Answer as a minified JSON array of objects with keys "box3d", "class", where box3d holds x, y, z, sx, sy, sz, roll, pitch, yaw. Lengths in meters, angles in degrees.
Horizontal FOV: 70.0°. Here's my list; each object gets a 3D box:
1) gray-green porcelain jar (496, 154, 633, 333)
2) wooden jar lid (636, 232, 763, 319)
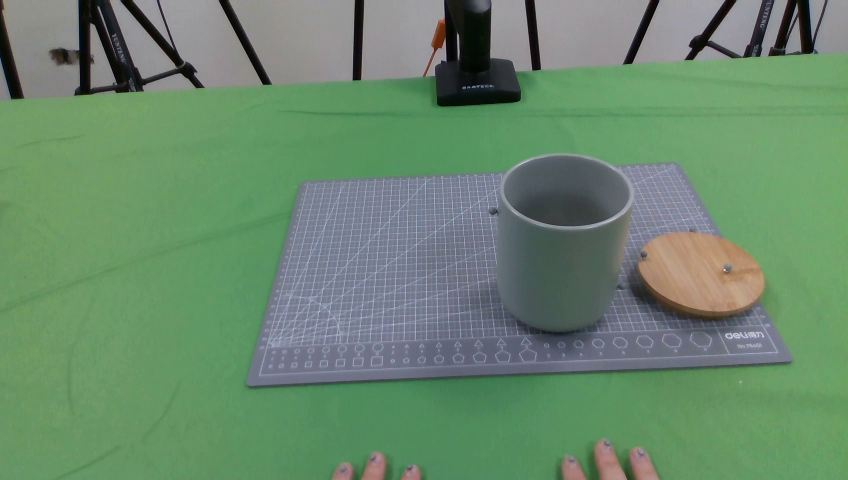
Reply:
[{"box3d":[0.114,0.008,0.517,0.106,0.127,0.105,-3,40,2],"class":"gray-green porcelain jar"},{"box3d":[0.251,0.033,0.559,0.108,0.021,0.107,-3,39,3],"class":"wooden jar lid"}]
